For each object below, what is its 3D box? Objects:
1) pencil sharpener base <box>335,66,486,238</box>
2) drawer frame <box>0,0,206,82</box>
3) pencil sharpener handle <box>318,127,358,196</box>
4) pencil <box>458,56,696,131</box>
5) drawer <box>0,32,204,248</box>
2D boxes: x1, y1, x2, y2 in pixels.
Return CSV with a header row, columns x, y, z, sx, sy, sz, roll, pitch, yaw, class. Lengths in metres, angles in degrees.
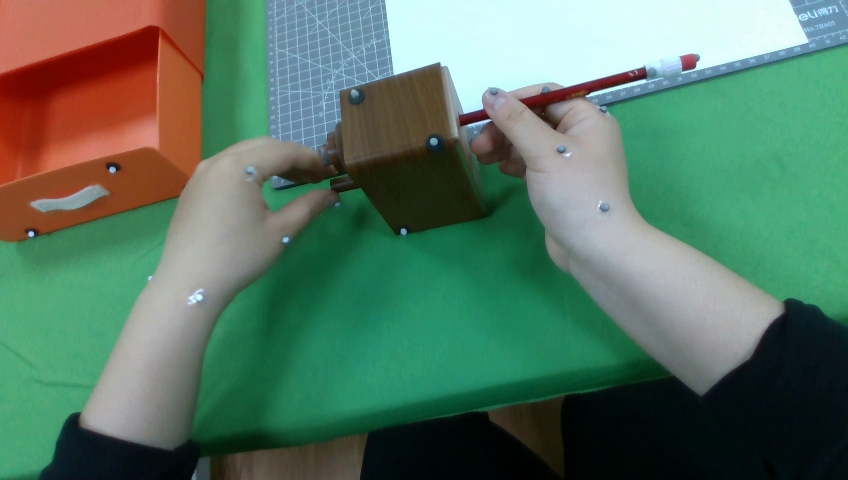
x,y,z,sx,sy,sz,roll,pitch,yaw,class
-0.007,-0.052,0.406,0.076,0.108,0.061,-13,64,11,pencil sharpener base
-0.314,-0.222,0.577,0.201,0.083,0.211,-14,64,10,drawer frame
-0.059,-0.047,0.404,0.030,0.068,0.035,-13,70,11,pencil sharpener handle
0.064,-0.081,0.367,0.194,0.012,0.012,-13,64,10,pencil
-0.295,-0.116,0.529,0.194,0.074,0.210,-15,64,10,drawer
